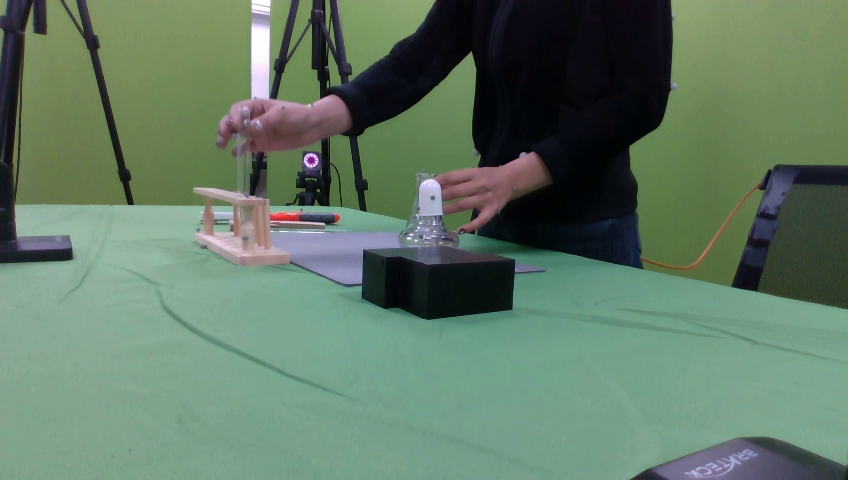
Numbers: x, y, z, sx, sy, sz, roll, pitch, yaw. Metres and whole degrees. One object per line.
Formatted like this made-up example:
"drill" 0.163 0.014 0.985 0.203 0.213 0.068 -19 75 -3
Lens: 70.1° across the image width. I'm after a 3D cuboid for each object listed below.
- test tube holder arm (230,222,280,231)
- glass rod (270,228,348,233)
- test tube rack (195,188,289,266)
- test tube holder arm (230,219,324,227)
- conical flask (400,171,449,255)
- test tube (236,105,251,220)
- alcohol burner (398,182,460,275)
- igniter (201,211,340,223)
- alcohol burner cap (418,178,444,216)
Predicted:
"test tube holder arm" -0.312 -0.025 1.118 0.088 0.015 0.010 -2 45 -30
"glass rod" -0.234 -0.017 1.104 0.201 0.008 0.008 1 7 -26
"test tube rack" -0.266 -0.025 0.864 0.067 0.085 0.241 -2 9 -33
"test tube holder arm" -0.275 -0.031 1.145 0.179 0.015 0.013 -3 46 -31
"conical flask" 0.003 -0.042 0.909 0.075 0.122 0.075 2 7 0
"test tube" -0.236 -0.100 0.790 0.017 0.150 0.017 2 4 0
"alcohol burner" 0.007 -0.017 0.751 0.078 0.119 0.078 3 10 0
"igniter" -0.311 -0.048 1.243 0.278 0.025 0.057 -1 -2 -24
"alcohol burner cap" 0.007 -0.053 0.745 0.034 0.048 0.034 -3 6 1
